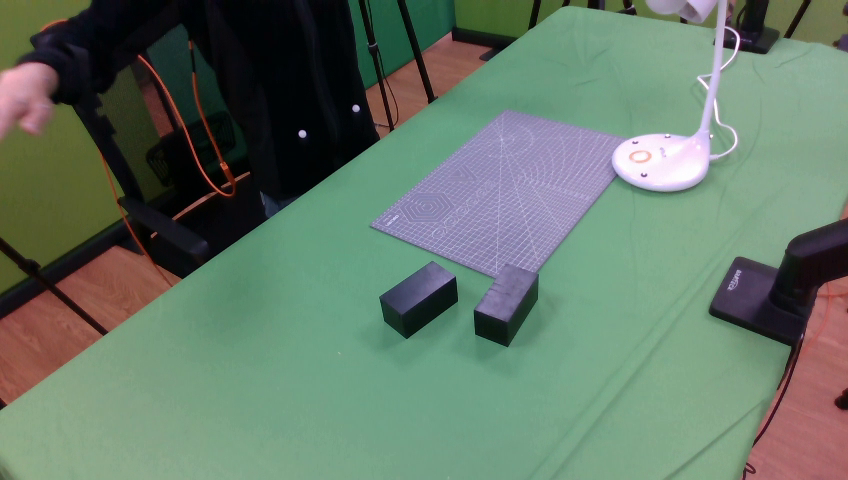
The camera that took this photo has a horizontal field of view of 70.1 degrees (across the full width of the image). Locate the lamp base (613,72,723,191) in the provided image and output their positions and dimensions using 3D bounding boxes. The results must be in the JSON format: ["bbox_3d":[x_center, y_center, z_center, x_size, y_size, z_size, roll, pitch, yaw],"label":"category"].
[{"bbox_3d":[0.423,-0.198,1.020,0.179,0.181,0.159,-6,42,-3],"label":"lamp base"}]

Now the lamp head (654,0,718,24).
[{"bbox_3d":[0.356,-0.361,0.788,0.123,0.113,0.111,-51,42,13],"label":"lamp head"}]
